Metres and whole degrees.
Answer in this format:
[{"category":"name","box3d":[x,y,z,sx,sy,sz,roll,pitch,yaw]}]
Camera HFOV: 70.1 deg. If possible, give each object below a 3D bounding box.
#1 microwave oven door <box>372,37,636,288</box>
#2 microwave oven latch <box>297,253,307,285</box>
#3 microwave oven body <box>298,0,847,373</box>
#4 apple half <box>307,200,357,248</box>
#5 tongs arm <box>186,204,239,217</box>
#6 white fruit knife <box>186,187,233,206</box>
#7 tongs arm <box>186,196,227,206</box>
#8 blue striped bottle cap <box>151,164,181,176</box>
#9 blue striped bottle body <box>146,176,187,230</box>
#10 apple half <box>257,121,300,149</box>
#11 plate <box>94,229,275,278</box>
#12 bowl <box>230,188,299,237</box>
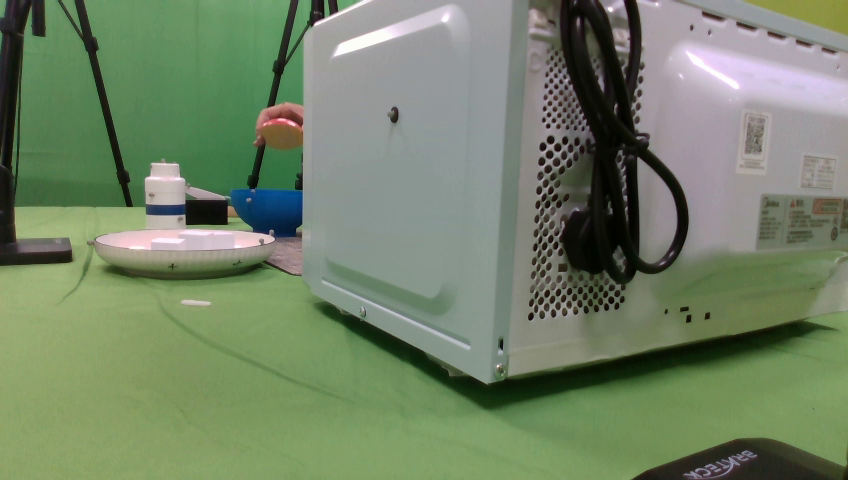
[{"category":"microwave oven door","box3d":[0.110,-0.080,0.686,0.358,0.243,0.039,-2,9,-33]},{"category":"microwave oven latch","box3d":[-0.082,0.027,0.582,0.079,0.029,0.030,-1,7,-32]},{"category":"microwave oven body","box3d":[0.151,-0.055,0.542,0.444,0.260,0.324,-2,7,-33]},{"category":"apple half","box3d":[-0.135,-0.024,0.941,0.053,0.074,0.081,13,9,39]},{"category":"tongs arm","box3d":[-0.396,-0.066,1.399,0.389,0.028,0.028,1,5,-15]},{"category":"white fruit knife","box3d":[-0.413,-0.081,1.270,0.208,0.027,0.016,18,13,-41]},{"category":"tongs arm","box3d":[-0.404,-0.081,1.479,0.385,0.026,0.050,3,8,-2]},{"category":"blue striped bottle cap","box3d":[-0.428,-0.116,1.002,0.044,0.020,0.044,1,6,0]},{"category":"blue striped bottle body","box3d":[-0.430,-0.065,1.010,0.063,0.120,0.063,2,7,0]},{"category":"apple half","box3d":[-0.253,-0.193,1.074,0.081,0.032,0.081,1,-19,1]},{"category":"plate","box3d":[-0.291,0.016,0.750,0.208,0.039,0.207,2,7,0]},{"category":"bowl","box3d":[-0.264,-0.048,1.066,0.151,0.077,0.151,3,8,0]}]
